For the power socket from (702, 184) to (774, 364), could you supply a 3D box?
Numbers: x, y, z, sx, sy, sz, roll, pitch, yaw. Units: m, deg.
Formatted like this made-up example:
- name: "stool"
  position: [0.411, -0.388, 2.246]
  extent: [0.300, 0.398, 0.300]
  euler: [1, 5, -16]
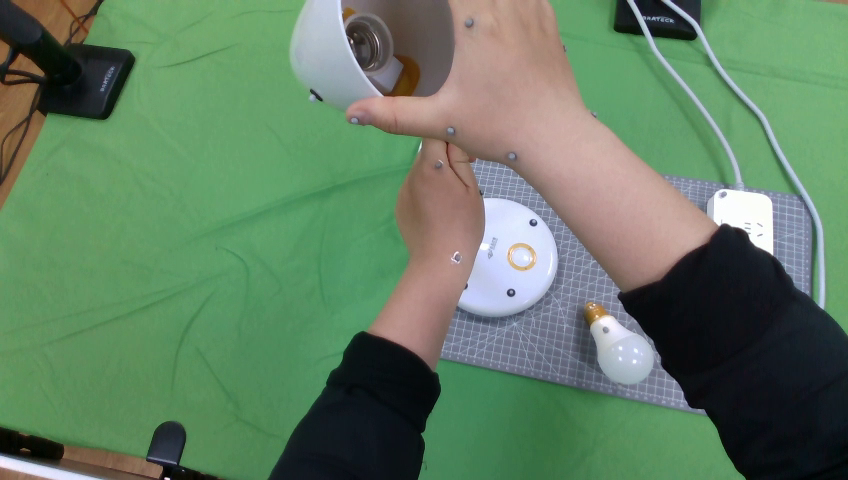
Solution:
- name: "power socket"
  position: [0.377, 0.034, 0.728]
  extent: [0.072, 0.033, 0.225]
  euler: [9, 69, 7]

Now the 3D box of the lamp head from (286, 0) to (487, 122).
- name: "lamp head"
  position: [-0.034, -0.126, 0.399]
  extent: [0.113, 0.122, 0.112]
  euler: [0, 90, -33]

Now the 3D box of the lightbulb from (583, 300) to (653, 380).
- name: "lightbulb"
  position: [0.219, 0.113, 0.701]
  extent: [0.059, 0.060, 0.106]
  euler: [-25, 53, -5]

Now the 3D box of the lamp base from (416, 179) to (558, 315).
- name: "lamp base"
  position: [0.067, -0.013, 0.693]
  extent: [0.179, 0.181, 0.159]
  euler: [4, 68, 9]
